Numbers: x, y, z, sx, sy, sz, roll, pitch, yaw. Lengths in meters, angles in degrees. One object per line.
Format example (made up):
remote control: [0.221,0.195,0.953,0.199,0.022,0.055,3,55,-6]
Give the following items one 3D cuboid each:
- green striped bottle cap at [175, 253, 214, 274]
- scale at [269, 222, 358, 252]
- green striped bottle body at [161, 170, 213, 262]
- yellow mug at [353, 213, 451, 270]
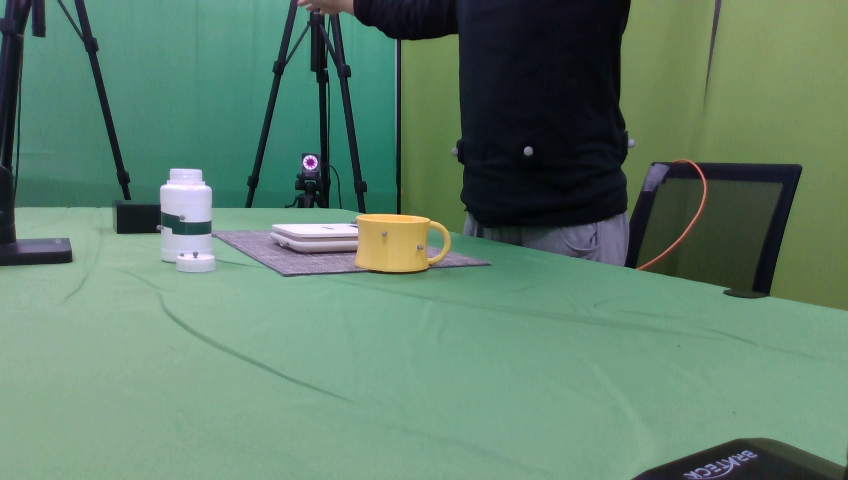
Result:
green striped bottle cap: [-0.280,0.029,0.740,0.044,0.020,0.044,7,3,0]
scale: [-0.132,-0.007,0.965,0.202,0.031,0.148,-2,8,-31]
green striped bottle body: [-0.312,-0.033,0.797,0.063,0.119,0.063,2,7,0]
yellow mug: [-0.027,0.000,0.807,0.131,0.064,0.099,2,7,-13]
